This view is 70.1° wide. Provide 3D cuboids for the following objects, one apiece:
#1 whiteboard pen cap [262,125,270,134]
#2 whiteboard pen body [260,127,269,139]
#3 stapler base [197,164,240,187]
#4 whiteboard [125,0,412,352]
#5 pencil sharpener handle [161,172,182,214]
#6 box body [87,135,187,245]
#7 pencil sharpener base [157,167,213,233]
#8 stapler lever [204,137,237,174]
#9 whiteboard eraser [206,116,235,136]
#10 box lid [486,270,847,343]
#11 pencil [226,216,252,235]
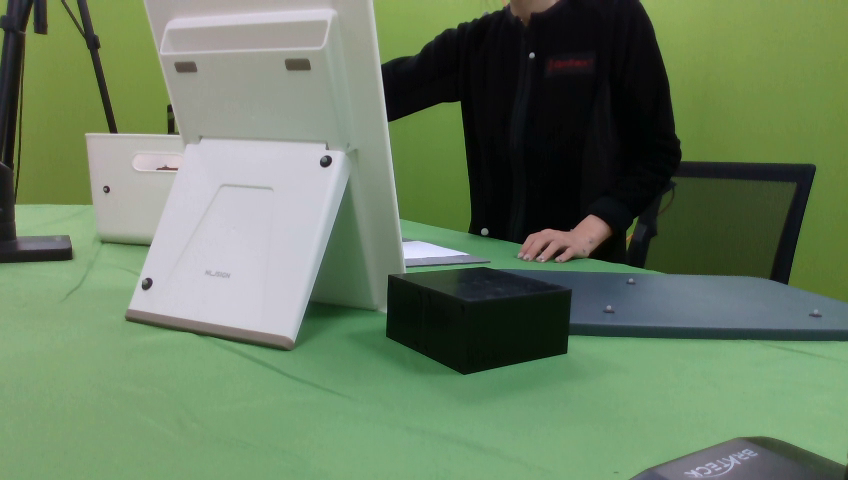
[{"bbox_3d":[-0.349,-0.244,1.337,0.018,0.018,0.033,0,2,-17],"label":"whiteboard pen cap"},{"bbox_3d":[-0.366,-0.247,1.392,0.017,0.017,0.140,0,3,-17],"label":"whiteboard pen body"},{"bbox_3d":[-0.314,-0.107,0.934,0.041,0.024,0.130,4,17,-8],"label":"stapler base"},{"bbox_3d":[-0.151,-0.049,0.472,0.216,0.305,0.144,6,27,24],"label":"whiteboard"},{"bbox_3d":[-0.411,-0.075,0.973,0.036,0.067,0.031,-11,6,11],"label":"pencil sharpener handle"},{"bbox_3d":[-0.338,-0.088,1.022,0.254,0.160,0.364,3,7,9],"label":"box body"},{"bbox_3d":[-0.406,-0.069,1.025,0.061,0.107,0.077,2,8,9],"label":"pencil sharpener base"},{"bbox_3d":[-0.310,-0.131,0.925,0.027,0.040,0.118,4,17,-8],"label":"stapler lever"},{"bbox_3d":[-0.450,-0.252,1.335,0.056,0.042,0.112,1,7,-22],"label":"whiteboard eraser"},{"bbox_3d":[0.267,0.066,0.643,0.372,0.015,0.263,2,7,-5],"label":"box lid"},{"bbox_3d":[-0.334,-0.026,1.092,0.012,0.012,0.193,2,10,-5],"label":"pencil"}]
